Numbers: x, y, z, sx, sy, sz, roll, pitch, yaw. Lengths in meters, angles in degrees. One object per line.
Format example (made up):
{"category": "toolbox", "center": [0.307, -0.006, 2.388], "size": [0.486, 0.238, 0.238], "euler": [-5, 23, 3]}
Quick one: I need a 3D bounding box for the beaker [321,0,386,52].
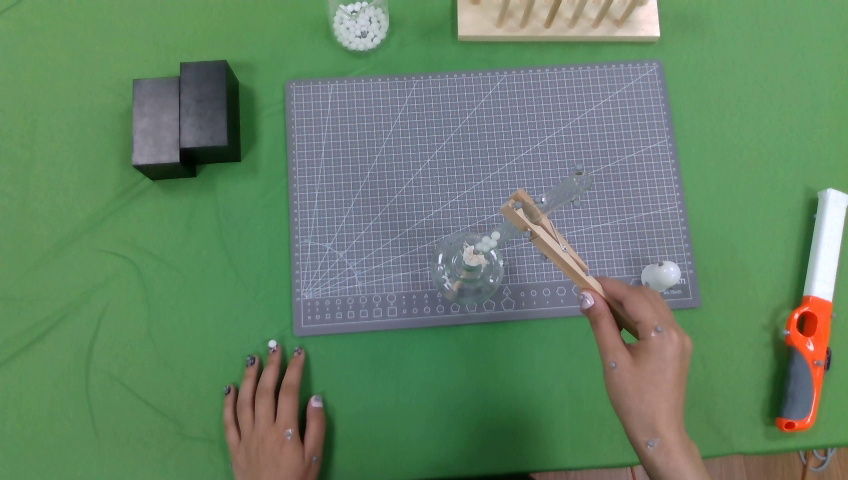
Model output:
{"category": "beaker", "center": [-0.079, -0.264, 0.683], "size": [0.074, 0.100, 0.083], "euler": [-1, 79, -2]}

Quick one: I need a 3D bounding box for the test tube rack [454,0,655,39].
{"category": "test tube rack", "center": [0.158, -0.285, 0.701], "size": [0.242, 0.085, 0.066], "euler": [0, 79, -2]}

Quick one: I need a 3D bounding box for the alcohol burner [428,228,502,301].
{"category": "alcohol burner", "center": [0.043, 0.022, 0.619], "size": [0.078, 0.119, 0.077], "euler": [1, 77, -3]}

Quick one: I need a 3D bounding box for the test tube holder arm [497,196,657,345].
{"category": "test tube holder arm", "center": [0.126, 0.028, 0.491], "size": [0.179, 0.015, 0.013], "euler": [43, 58, -12]}

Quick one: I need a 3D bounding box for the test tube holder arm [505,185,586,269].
{"category": "test tube holder arm", "center": [0.098, -0.007, 0.486], "size": [0.088, 0.015, 0.010], "euler": [50, 56, -8]}

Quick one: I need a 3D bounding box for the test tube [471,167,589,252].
{"category": "test tube", "center": [0.078, -0.020, 0.483], "size": [0.017, 0.150, 0.017], "euler": [10, 66, -23]}

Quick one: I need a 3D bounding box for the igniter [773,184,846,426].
{"category": "igniter", "center": [0.427, 0.070, 0.668], "size": [0.057, 0.025, 0.275], "euler": [18, 79, -8]}

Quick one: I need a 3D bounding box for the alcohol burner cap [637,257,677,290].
{"category": "alcohol burner cap", "center": [0.256, 0.035, 0.660], "size": [0.034, 0.048, 0.033], "euler": [0, 77, -1]}
